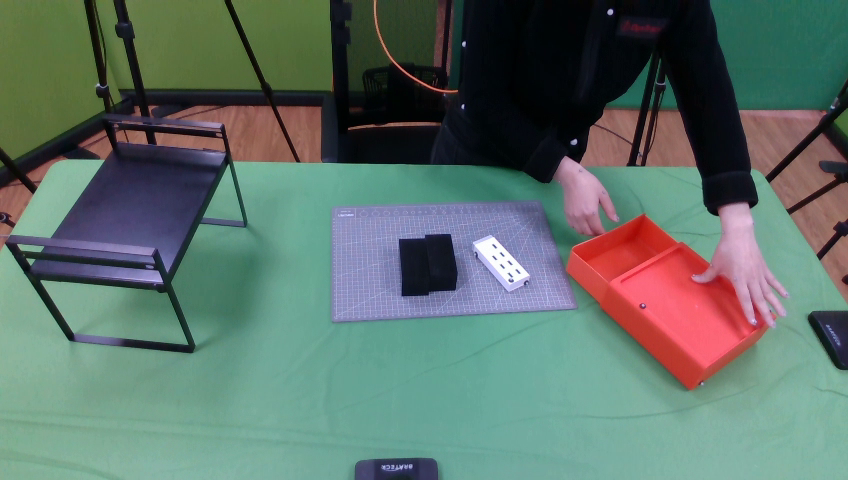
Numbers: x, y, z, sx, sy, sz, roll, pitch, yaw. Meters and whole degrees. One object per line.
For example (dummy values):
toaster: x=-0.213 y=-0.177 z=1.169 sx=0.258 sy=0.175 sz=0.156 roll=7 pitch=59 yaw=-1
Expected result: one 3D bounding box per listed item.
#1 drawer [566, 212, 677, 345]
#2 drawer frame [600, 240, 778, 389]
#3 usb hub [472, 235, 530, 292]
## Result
drawer: x=0.408 y=0.066 z=1.123 sx=0.194 sy=0.073 sz=0.210 roll=-23 pitch=53 yaw=-24
drawer frame: x=0.460 y=0.122 z=1.067 sx=0.202 sy=0.083 sz=0.212 roll=-25 pitch=53 yaw=-25
usb hub: x=0.145 y=0.043 z=1.159 sx=0.049 sy=0.025 sz=0.124 roll=-23 pitch=51 yaw=-22
